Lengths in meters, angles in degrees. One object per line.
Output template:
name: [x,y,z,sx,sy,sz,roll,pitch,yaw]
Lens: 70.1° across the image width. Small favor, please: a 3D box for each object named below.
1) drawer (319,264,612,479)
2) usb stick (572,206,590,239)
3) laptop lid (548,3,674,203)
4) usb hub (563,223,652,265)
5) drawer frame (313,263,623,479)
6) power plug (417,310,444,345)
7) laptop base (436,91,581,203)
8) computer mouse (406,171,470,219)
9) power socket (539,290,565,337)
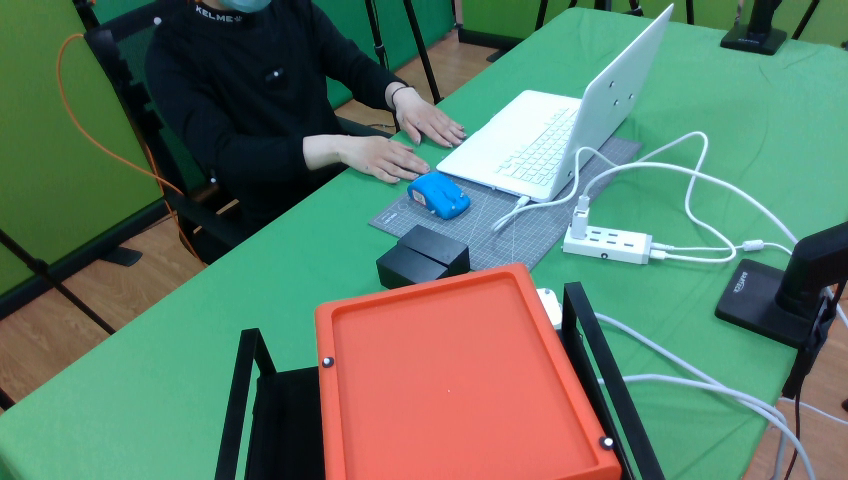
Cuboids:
drawer: [0.020,0.129,0.497,0.195,0.073,0.210,-11,41,-5]
usb stick: [0.237,-0.021,0.916,0.021,0.059,0.027,9,41,17]
laptop lid: [0.320,-0.235,1.026,0.013,0.242,0.357,31,50,20]
usb hub: [0.281,0.005,0.925,0.124,0.025,0.049,10,43,19]
drawer frame: [0.021,0.130,0.493,0.202,0.083,0.212,-11,41,-6]
power plug: [0.007,0.122,0.785,0.035,0.053,0.072,0,39,8]
laptop base: [0.215,-0.192,1.172,0.233,0.023,0.355,19,46,32]
computer mouse: [0.024,-0.082,1.049,0.063,0.041,0.116,-30,50,-27]
power socket: [0.081,0.112,0.822,0.227,0.033,0.072,-6,41,0]
